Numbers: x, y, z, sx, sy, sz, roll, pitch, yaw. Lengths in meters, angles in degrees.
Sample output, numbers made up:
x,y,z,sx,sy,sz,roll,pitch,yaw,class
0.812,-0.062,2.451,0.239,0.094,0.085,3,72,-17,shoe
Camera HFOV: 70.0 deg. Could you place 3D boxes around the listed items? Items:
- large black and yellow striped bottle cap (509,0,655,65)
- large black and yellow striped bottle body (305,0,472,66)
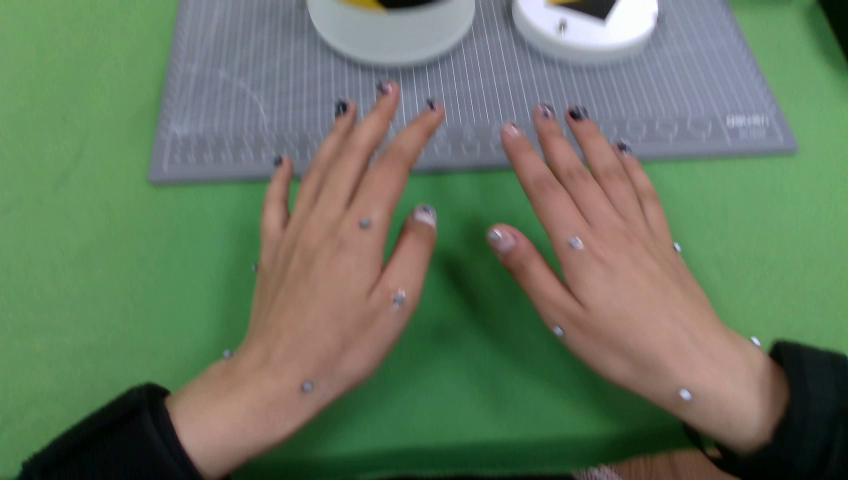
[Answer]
x,y,z,sx,sy,sz,roll,pitch,yaw,class
0.126,-0.187,0.486,0.115,0.019,0.114,1,59,-2,large black and yellow striped bottle cap
-0.024,-0.227,0.404,0.131,0.185,0.129,1,60,-1,large black and yellow striped bottle body
